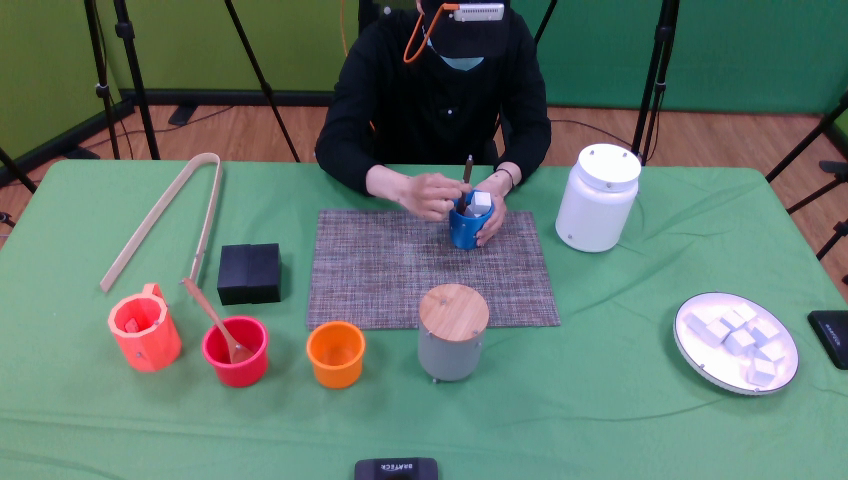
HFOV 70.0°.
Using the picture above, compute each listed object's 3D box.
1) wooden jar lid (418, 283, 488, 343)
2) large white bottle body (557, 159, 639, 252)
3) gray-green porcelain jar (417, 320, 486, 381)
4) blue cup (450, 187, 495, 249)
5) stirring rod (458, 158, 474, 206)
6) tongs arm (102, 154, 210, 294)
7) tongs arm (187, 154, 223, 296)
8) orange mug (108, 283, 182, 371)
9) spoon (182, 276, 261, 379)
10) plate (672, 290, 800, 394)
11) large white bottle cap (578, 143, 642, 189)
[{"bbox_3d":[0.045,0.114,0.931,0.108,0.021,0.107,2,49,-2],"label":"wooden jar lid"},{"bbox_3d":[0.340,-0.081,1.185,0.131,0.185,0.130,2,46,-2],"label":"large white bottle body"},{"bbox_3d":[0.042,0.158,0.975,0.106,0.127,0.105,2,46,-2],"label":"gray-green porcelain jar"},{"bbox_3d":[0.088,-0.036,1.177,0.093,0.101,0.092,3,45,-3],"label":"blue cup"},{"bbox_3d":[0.072,-0.080,1.119,0.014,0.177,0.006,-21,52,-27],"label":"stirring rod"},{"bbox_3d":[-0.524,-0.046,1.203,0.028,0.028,0.385,4,45,13],"label":"tongs arm"},{"bbox_3d":[-0.442,-0.044,1.199,0.051,0.027,0.382,-4,46,1],"label":"tongs arm"},{"bbox_3d":[-0.445,0.134,0.982,0.083,0.101,0.125,-1,50,-5],"label":"orange mug"},{"bbox_3d":[-0.321,0.137,0.957,0.041,0.021,0.194,-36,102,-32],"label":"spoon"},{"bbox_3d":[0.533,0.179,1.050,0.208,0.039,0.206,2,46,-2],"label":"plate"},{"bbox_3d":[0.344,-0.139,1.123,0.115,0.018,0.114,2,46,-2],"label":"large white bottle cap"}]
